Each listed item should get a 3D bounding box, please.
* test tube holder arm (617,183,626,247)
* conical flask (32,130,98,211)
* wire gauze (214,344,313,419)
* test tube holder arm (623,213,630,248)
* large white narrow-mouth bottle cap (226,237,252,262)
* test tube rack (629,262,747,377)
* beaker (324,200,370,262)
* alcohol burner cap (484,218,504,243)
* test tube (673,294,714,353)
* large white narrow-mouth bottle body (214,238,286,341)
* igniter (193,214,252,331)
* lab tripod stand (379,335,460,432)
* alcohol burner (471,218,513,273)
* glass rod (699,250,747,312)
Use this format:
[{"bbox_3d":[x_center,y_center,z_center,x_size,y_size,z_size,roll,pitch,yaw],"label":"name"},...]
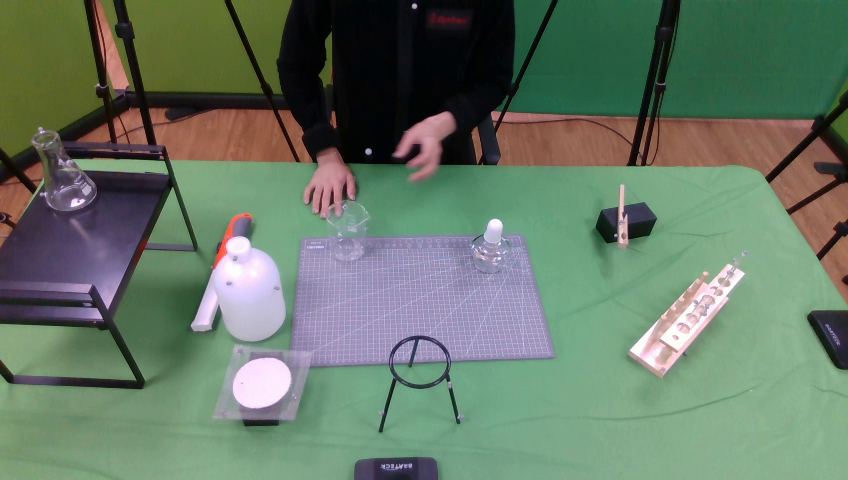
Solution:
[{"bbox_3d":[0.395,-0.053,1.211,0.013,0.015,0.177,15,47,-2],"label":"test tube holder arm"},{"bbox_3d":[-0.565,-0.110,0.944,0.075,0.122,0.075,2,46,-2],"label":"conical flask"},{"bbox_3d":[-0.241,0.213,0.916,0.121,0.011,0.124,5,46,1],"label":"wire gauze"},{"bbox_3d":[0.392,-0.020,1.180,0.010,0.015,0.087,15,47,-1],"label":"test tube holder arm"},{"bbox_3d":[-0.282,0.014,0.923,0.038,0.024,0.037,2,46,-2],"label":"large white narrow-mouth bottle cap"},{"bbox_3d":[0.464,0.126,1.060,0.242,0.085,0.066,-34,56,-31],"label":"test tube rack"},{"bbox_3d":[-0.143,-0.015,1.142,0.084,0.101,0.073,1,46,-4],"label":"beaker"},{"bbox_3d":[0.130,-0.021,1.106,0.034,0.048,0.033,3,51,-4],"label":"alcohol burner cap"},{"bbox_3d":[0.428,0.137,0.978,0.017,0.151,0.017,4,47,-4],"label":"test tube"},{"bbox_3d":[-0.285,0.073,0.986,0.102,0.195,0.101,2,46,-2],"label":"large white narrow-mouth bottle body"},{"bbox_3d":[-0.368,0.050,1.119,0.057,0.025,0.275,-3,46,7],"label":"igniter"},{"bbox_3d":[-0.011,0.214,0.912,0.148,0.132,0.147,1,45,0],"label":"lab tripod stand"},{"bbox_3d":[0.128,0.005,1.132,0.078,0.120,0.077,0,47,0],"label":"alcohol burner"},{"bbox_3d":[0.500,0.075,1.021,0.008,0.201,0.008,0,55,1],"label":"glass rod"}]
